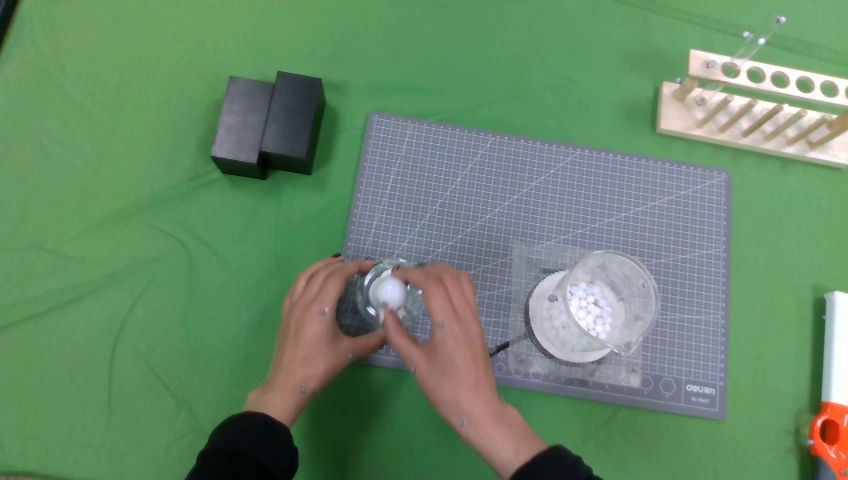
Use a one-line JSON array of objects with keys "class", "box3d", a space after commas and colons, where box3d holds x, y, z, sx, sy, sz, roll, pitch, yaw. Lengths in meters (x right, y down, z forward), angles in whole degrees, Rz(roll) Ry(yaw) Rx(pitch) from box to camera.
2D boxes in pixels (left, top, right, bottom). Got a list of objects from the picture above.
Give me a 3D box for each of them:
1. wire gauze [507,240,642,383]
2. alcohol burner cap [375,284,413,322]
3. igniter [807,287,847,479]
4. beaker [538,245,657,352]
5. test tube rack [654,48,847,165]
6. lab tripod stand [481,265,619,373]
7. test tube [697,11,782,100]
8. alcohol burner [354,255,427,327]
[{"class": "wire gauze", "box3d": [0.138, 0.063, 0.556, 0.125, 0.011, 0.121, 7, 73, 1]}, {"class": "alcohol burner cap", "box3d": [-0.025, 0.055, 0.538, 0.034, 0.048, 0.033, 2, 78, -9]}, {"class": "igniter", "box3d": [0.453, 0.188, 0.671, 0.057, 0.025, 0.275, 16, 75, -9]}, {"class": "beaker", "box3d": [0.140, 0.057, 0.508, 0.074, 0.100, 0.083, -13, 75, -6]}, {"class": "test tube rack", "box3d": [0.415, -0.158, 0.728, 0.242, 0.085, 0.066, 10, 75, -1]}, {"class": "lab tripod stand", "box3d": [0.132, 0.082, 0.619, 0.148, 0.132, 0.147, 1, 74, -2]}, {"class": "test tube", "box3d": [0.350, -0.202, 0.683, 0.017, 0.151, 0.017, 1, 71, -4]}, {"class": "alcohol burner", "box3d": [-0.034, 0.049, 0.627, 0.078, 0.119, 0.077, 1, 73, -3]}]
